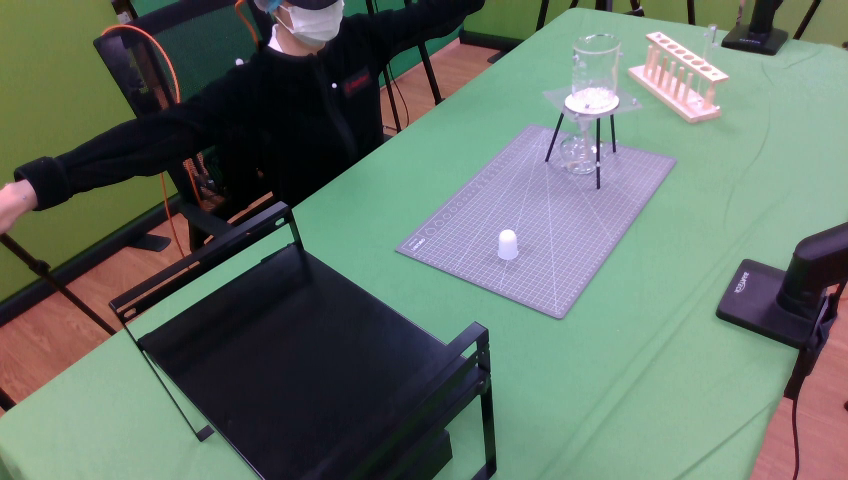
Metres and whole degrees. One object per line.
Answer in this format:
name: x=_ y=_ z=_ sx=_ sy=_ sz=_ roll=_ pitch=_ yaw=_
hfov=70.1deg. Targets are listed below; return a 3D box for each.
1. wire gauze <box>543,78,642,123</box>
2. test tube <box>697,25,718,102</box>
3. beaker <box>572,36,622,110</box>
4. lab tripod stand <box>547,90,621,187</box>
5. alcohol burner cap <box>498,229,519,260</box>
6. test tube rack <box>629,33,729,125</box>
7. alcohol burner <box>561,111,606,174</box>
wire gauze: x=0.282 y=-0.234 z=1.021 sx=0.125 sy=0.011 sz=0.120 roll=-17 pitch=38 yaw=-4
test tube: x=0.546 y=-0.337 z=1.166 sx=0.017 sy=0.151 sz=0.017 roll=-5 pitch=36 yaw=4
beaker: x=0.279 y=-0.274 z=0.992 sx=0.074 sy=0.101 sz=0.083 roll=-14 pitch=40 yaw=-5
lab tripod stand: x=0.289 y=-0.184 z=1.062 sx=0.148 sy=0.132 sz=0.147 roll=-6 pitch=41 yaw=6
alcohol burner cap: x=0.131 y=0.004 z=0.938 sx=0.034 sy=0.048 sz=0.033 roll=-4 pitch=40 yaw=4
test tube rack: x=0.516 y=-0.337 z=1.247 sx=0.067 sy=0.085 sz=0.240 roll=-14 pitch=41 yaw=-7
alcohol burner: x=0.283 y=-0.177 z=1.071 sx=0.078 sy=0.119 sz=0.077 roll=-5 pitch=42 yaw=5
